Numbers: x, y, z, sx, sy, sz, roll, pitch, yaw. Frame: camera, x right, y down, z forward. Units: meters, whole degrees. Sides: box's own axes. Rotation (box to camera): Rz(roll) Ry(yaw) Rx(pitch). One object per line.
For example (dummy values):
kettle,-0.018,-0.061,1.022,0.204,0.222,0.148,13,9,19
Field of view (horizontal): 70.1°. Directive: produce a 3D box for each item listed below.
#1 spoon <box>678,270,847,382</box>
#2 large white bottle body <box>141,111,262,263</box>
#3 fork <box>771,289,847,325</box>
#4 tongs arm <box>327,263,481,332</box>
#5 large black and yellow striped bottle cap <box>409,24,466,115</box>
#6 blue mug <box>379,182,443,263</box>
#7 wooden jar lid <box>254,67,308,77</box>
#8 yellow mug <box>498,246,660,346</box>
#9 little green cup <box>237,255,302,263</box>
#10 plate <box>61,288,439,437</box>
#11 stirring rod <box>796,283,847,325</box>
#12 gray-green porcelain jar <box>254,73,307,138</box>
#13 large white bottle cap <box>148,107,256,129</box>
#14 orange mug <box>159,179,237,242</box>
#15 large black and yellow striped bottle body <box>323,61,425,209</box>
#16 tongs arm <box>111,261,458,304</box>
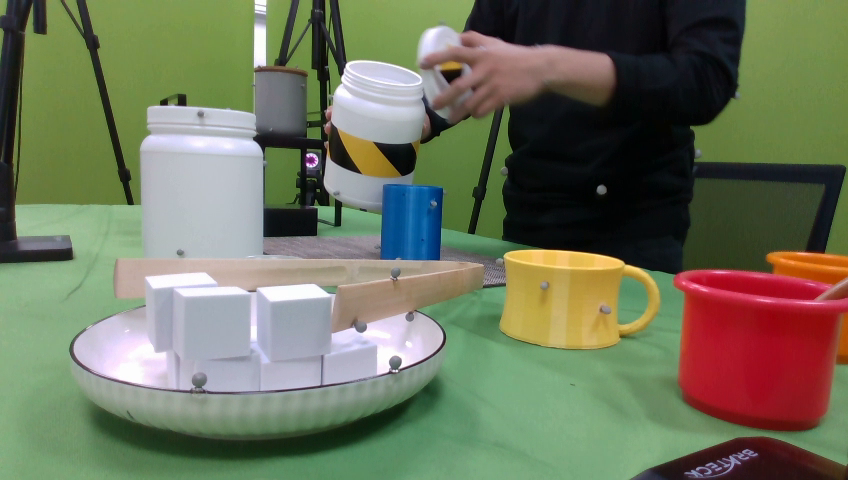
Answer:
spoon,0.229,0.031,0.338,0.193,0.021,0.042,-44,-17,27
large white bottle body,-0.254,-0.054,0.697,0.131,0.184,0.130,2,7,0
fork,0.335,0.018,0.443,0.028,0.018,0.207,-1,-36,-20
tongs arm,-0.003,0.036,0.493,0.050,0.026,0.386,1,-1,19
large black and yellow striped bottle cap,0.020,-0.221,0.786,0.018,0.115,0.115,-9,1,31
blue mug,-0.020,-0.026,0.833,0.082,0.106,0.116,1,7,-7
wooden jar lid,-0.296,-0.339,1.251,0.108,0.020,0.108,2,7,0
yellow mug,0.130,0.045,0.508,0.131,0.064,0.100,4,7,6
little green cup,-0.150,0.038,0.590,0.061,0.038,0.061,3,7,0
plate,-0.095,0.069,0.362,0.208,0.039,0.207,3,7,0
stirring rod,0.347,0.019,0.460,0.014,0.176,0.006,-17,59,-26
gray-green porcelain jar,-0.298,-0.277,1.259,0.106,0.126,0.106,3,7,0
large white bottle cap,-0.250,-0.137,0.686,0.115,0.018,0.115,3,8,0
orange mug,-0.368,-0.052,0.991,0.127,0.101,0.083,-10,14,-41
large black and yellow striped bottle body,-0.071,-0.151,0.868,0.131,0.184,0.130,9,28,-5
tongs arm,-0.080,0.032,0.527,0.028,0.027,0.389,-3,-3,33
